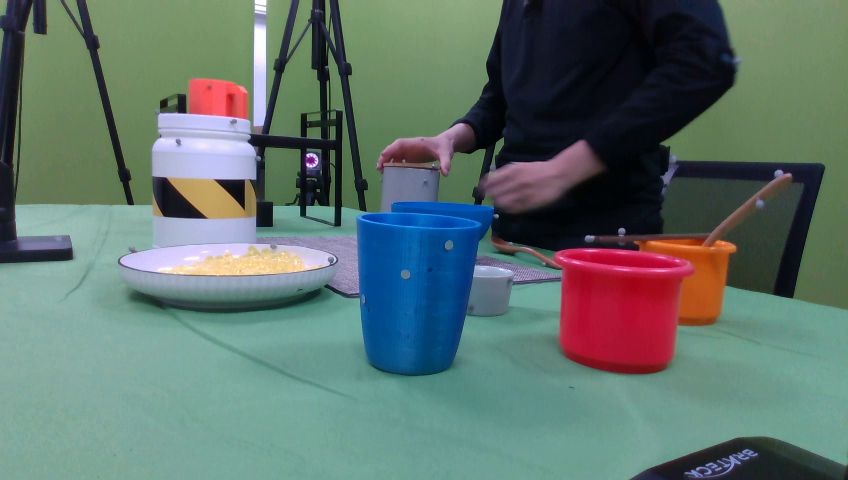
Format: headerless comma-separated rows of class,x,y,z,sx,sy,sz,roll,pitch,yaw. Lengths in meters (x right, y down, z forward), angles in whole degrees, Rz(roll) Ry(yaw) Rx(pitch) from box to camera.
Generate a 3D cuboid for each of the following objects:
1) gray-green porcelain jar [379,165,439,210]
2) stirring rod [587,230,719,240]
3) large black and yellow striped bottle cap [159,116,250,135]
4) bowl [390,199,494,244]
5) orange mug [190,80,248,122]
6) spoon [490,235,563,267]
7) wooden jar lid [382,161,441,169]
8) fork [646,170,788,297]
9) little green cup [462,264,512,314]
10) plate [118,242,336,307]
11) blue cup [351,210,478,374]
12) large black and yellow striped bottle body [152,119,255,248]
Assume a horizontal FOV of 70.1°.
gray-green porcelain jar,-0.029,-0.072,1.125,0.106,0.126,0.106,5,4,0
stirring rod,0.226,-0.005,0.587,0.177,0.006,0.014,-2,10,-29
large black and yellow striped bottle cap,-0.292,-0.153,0.810,0.115,0.019,0.115,3,8,0
bowl,0.024,-0.015,0.871,0.151,0.077,0.151,3,7,0
orange mug,-0.394,-0.257,1.173,0.126,0.100,0.084,1,6,25
spoon,0.154,0.015,0.925,0.042,0.021,0.193,20,-1,-23
wooden jar lid,-0.024,-0.134,1.121,0.108,0.020,0.108,4,5,0
fork,0.256,0.004,0.543,0.028,0.018,0.207,3,-36,-9
little green cup,0.053,0.047,0.580,0.061,0.038,0.061,3,8,0
plate,-0.194,0.033,0.615,0.209,0.038,0.209,2,7,0
blue cup,-0.009,0.034,0.414,0.093,0.100,0.092,3,9,0
large black and yellow striped bottle body,-0.296,-0.070,0.819,0.131,0.184,0.130,2,7,0
